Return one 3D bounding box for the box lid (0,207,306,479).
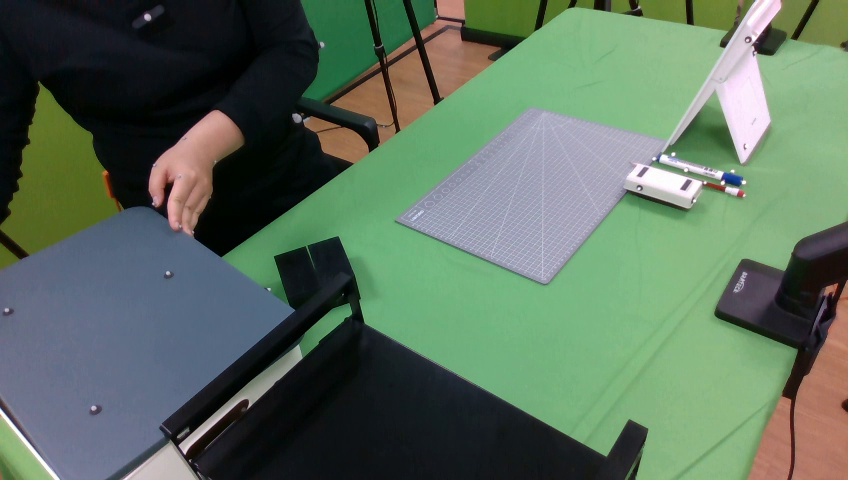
[{"bbox_3d":[-0.337,0.088,0.675,0.368,0.015,0.264,28,48,31],"label":"box lid"}]

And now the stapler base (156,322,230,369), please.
[{"bbox_3d":[-0.327,0.141,0.850,0.129,0.024,0.041,16,35,34],"label":"stapler base"}]

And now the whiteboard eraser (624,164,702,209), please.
[{"bbox_3d":[0.396,-0.087,1.003,0.112,0.042,0.056,22,48,31],"label":"whiteboard eraser"}]

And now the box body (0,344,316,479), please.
[{"bbox_3d":[-0.340,0.161,0.728,0.361,0.161,0.255,23,48,31],"label":"box body"}]

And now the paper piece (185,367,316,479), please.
[{"bbox_3d":[-0.222,0.234,0.757,0.136,0.009,0.137,-39,36,-23],"label":"paper piece"}]

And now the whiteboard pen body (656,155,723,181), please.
[{"bbox_3d":[0.475,-0.123,1.052,0.139,0.017,0.017,24,50,32],"label":"whiteboard pen body"}]

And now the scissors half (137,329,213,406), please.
[{"bbox_3d":[-0.336,0.173,0.824,0.040,0.013,0.174,-35,54,-30],"label":"scissors half"}]

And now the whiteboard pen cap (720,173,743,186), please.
[{"bbox_3d":[0.519,-0.103,1.020,0.033,0.018,0.018,23,49,30],"label":"whiteboard pen cap"}]

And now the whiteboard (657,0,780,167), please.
[{"bbox_3d":[0.571,-0.272,1.038,0.143,0.306,0.218,36,54,17],"label":"whiteboard"}]

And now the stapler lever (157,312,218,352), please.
[{"bbox_3d":[-0.330,0.121,0.838,0.117,0.040,0.027,18,36,33],"label":"stapler lever"}]

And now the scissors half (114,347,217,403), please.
[{"bbox_3d":[-0.349,0.185,0.812,0.174,0.013,0.040,16,51,18],"label":"scissors half"}]

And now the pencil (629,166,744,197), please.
[{"bbox_3d":[0.447,-0.103,1.038,0.192,0.012,0.012,21,48,29],"label":"pencil"}]
